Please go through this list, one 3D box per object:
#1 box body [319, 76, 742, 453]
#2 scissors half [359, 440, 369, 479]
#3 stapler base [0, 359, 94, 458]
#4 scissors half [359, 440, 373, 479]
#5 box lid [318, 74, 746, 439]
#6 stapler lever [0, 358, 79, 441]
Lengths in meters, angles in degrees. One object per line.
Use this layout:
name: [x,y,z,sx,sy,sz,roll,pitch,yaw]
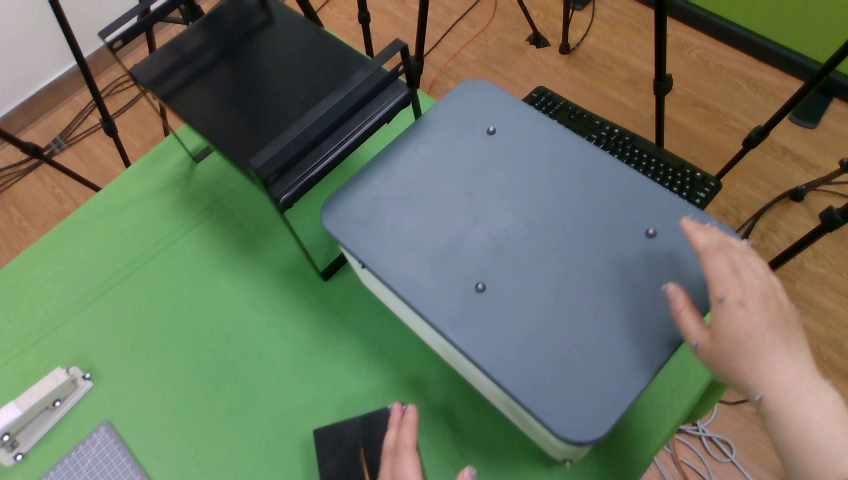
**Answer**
box body: [0.103,0.022,0.672,0.361,0.162,0.254,39,73,24]
scissors half: [-0.041,0.279,0.580,0.013,0.040,0.173,-20,63,3]
stapler base: [-0.469,0.202,0.738,0.041,0.024,0.130,34,69,20]
scissors half: [-0.038,0.285,0.599,0.013,0.040,0.174,-18,81,-2]
box lid: [0.092,-0.014,0.608,0.368,0.015,0.263,39,73,25]
stapler lever: [-0.471,0.189,0.718,0.026,0.040,0.118,34,71,21]
